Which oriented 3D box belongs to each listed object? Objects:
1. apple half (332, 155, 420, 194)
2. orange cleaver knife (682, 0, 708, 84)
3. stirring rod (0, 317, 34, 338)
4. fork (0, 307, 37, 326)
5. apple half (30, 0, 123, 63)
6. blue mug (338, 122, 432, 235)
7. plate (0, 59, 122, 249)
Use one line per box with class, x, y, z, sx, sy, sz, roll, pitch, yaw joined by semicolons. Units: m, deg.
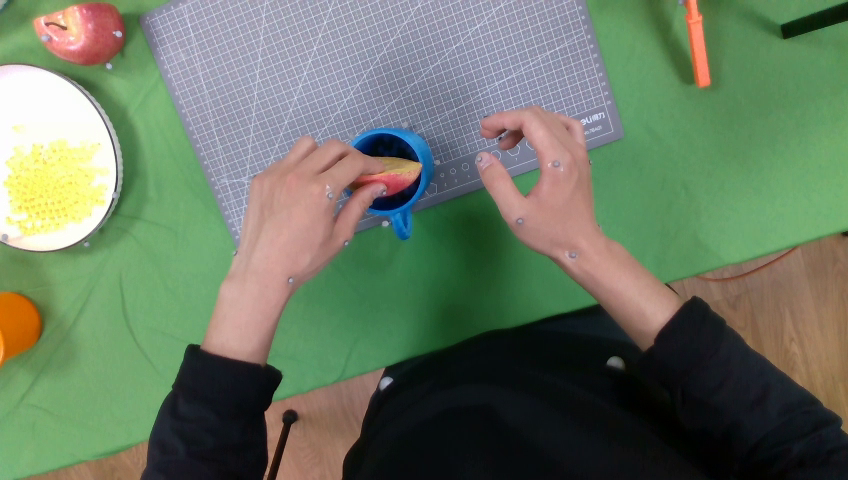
apple half;-0.043;-0.059;0.563;0.081;0.081;0.033;3;107;4
orange cleaver knife;0.245;-0.252;0.575;0.012;0.076;0.213;-16;127;16
stirring rod;-0.541;0.122;0.682;0.176;0.006;0.014;-19;90;-33
fork;-0.555;0.107;0.677;0.208;0.018;0.028;-11;104;-38
apple half;-0.354;-0.214;0.632;0.081;0.074;0.053;-16;104;4
blue mug;-0.033;-0.062;0.622;0.082;0.105;0.117;-11;101;7
plate;-0.437;-0.095;0.682;0.209;0.038;0.210;1;103;4
